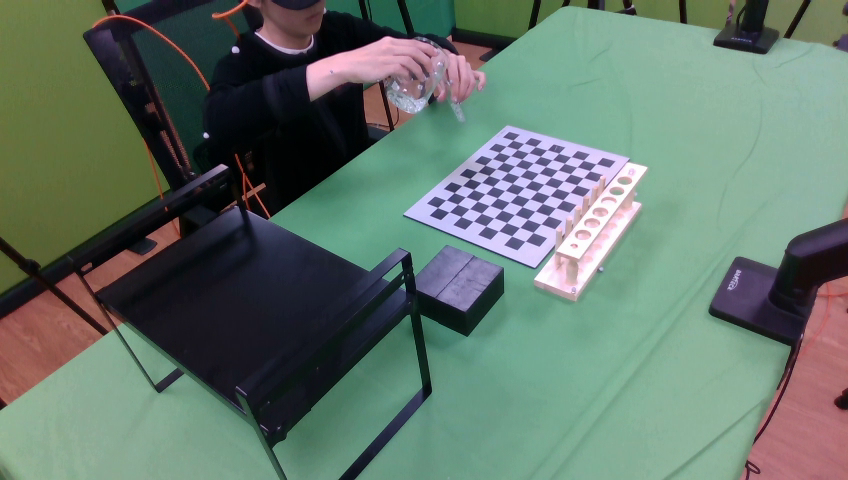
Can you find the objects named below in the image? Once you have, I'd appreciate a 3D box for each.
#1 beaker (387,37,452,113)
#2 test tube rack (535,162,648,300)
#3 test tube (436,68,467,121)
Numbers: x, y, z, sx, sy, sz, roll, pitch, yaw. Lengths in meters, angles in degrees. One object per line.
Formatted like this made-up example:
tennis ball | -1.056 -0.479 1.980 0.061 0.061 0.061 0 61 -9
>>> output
beaker | -0.009 -0.264 0.988 0.073 0.084 0.100 24 78 27
test tube rack | 0.257 -0.024 0.916 0.066 0.085 0.243 22 49 30
test tube | 0.053 -0.260 1.096 0.017 0.151 0.017 -8 66 18
